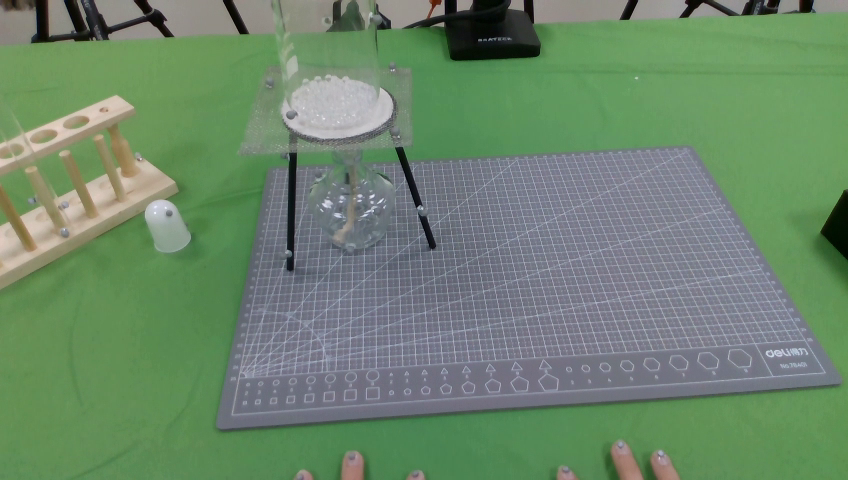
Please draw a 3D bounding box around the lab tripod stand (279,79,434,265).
[{"bbox_3d":[-0.061,-0.057,0.513,0.148,0.132,0.147,1,43,0],"label":"lab tripod stand"}]

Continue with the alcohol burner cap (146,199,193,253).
[{"bbox_3d":[-0.230,-0.016,0.543,0.034,0.048,0.033,0,45,0],"label":"alcohol burner cap"}]

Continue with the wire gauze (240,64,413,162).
[{"bbox_3d":[-0.070,-0.102,0.465,0.121,0.011,0.124,-1,46,-1],"label":"wire gauze"}]

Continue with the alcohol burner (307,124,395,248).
[{"bbox_3d":[-0.064,-0.050,0.520,0.078,0.120,0.077,1,45,-1],"label":"alcohol burner"}]

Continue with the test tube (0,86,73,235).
[{"bbox_3d":[-0.325,-0.064,0.497,0.017,0.151,0.017,0,43,0],"label":"test tube"}]

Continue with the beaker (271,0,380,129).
[{"bbox_3d":[-0.068,-0.139,0.433,0.074,0.101,0.083,5,44,3],"label":"beaker"}]

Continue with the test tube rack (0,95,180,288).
[{"bbox_3d":[-0.349,-0.031,0.528,0.066,0.086,0.242,32,52,29],"label":"test tube rack"}]
